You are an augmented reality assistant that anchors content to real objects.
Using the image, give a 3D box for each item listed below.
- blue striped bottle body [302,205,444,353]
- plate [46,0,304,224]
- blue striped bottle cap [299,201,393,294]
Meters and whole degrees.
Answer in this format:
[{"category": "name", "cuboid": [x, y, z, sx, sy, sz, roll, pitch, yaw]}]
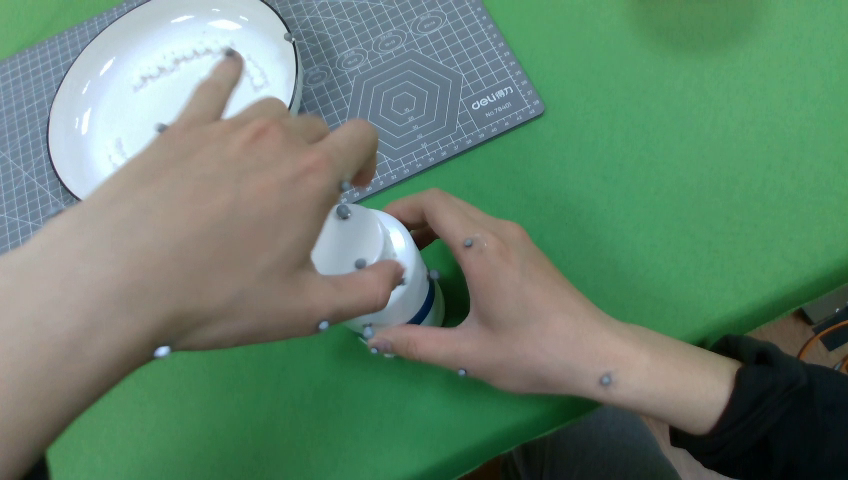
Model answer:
[{"category": "blue striped bottle body", "cuboid": [-0.028, 0.022, 0.349, 0.063, 0.122, 0.062, -4, 67, 10]}, {"category": "plate", "cuboid": [-0.189, -0.104, 0.475, 0.207, 0.039, 0.206, -4, 68, 10]}, {"category": "blue striped bottle cap", "cuboid": [-0.039, 0.004, 0.302, 0.044, 0.021, 0.044, -4, 65, 8]}]
